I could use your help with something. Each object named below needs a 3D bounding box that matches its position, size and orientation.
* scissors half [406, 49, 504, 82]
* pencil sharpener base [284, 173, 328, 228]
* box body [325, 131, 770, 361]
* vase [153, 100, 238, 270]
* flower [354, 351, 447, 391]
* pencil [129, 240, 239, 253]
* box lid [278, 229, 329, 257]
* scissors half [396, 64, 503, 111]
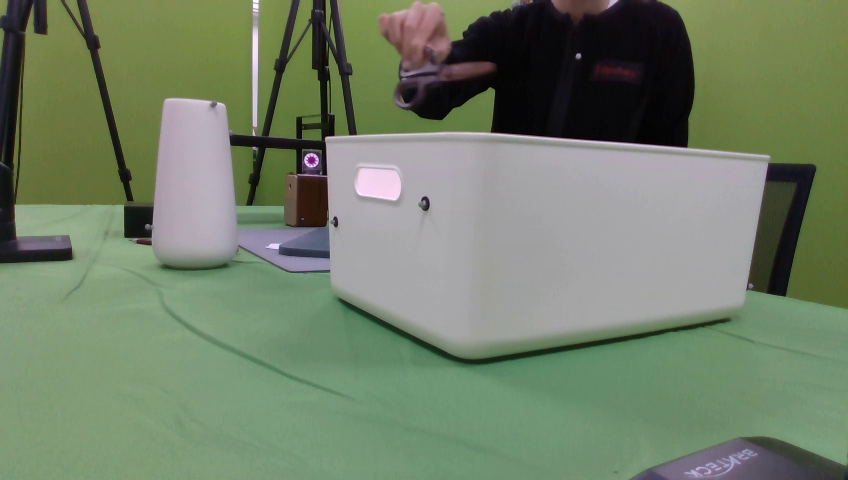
[{"bbox_3d":[0.030,-0.182,0.639,0.013,0.040,0.174,27,1,-35],"label":"scissors half"},{"bbox_3d":[-0.239,-0.081,1.231,0.077,0.107,0.061,-2,8,-36],"label":"pencil sharpener base"},{"bbox_3d":[0.112,-0.010,0.583,0.366,0.160,0.253,-2,9,-33],"label":"box body"},{"bbox_3d":[-0.278,-0.066,0.736,0.098,0.200,0.098,2,9,0],"label":"vase"},{"bbox_3d":[0.104,0.075,0.585,0.363,0.044,0.038,-19,39,-14],"label":"flower"},{"bbox_3d":[-0.350,0.008,0.874,0.193,0.012,0.012,3,7,19],"label":"pencil"},{"bbox_3d":[-0.019,0.012,0.950,0.371,0.015,0.263,4,7,4],"label":"box lid"},{"bbox_3d":[0.022,-0.164,0.638,0.013,0.040,0.174,20,-12,-35],"label":"scissors half"}]
